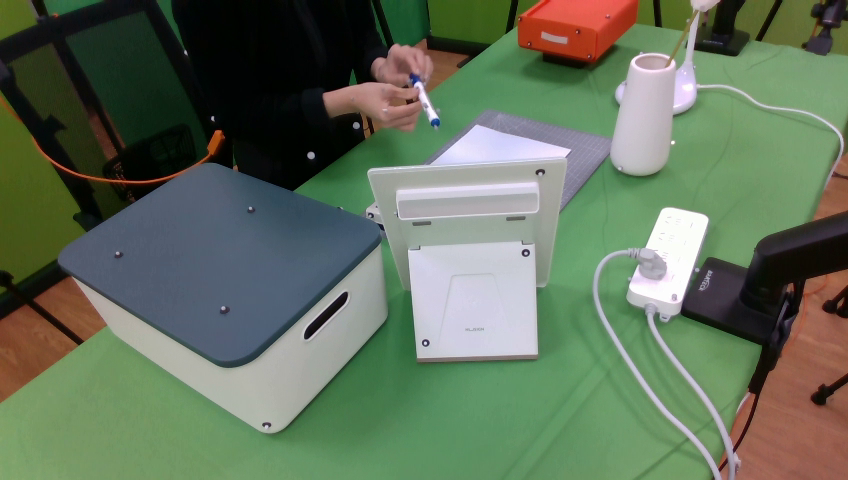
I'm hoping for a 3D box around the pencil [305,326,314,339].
[{"bbox_3d":[-0.187,0.105,0.879,0.012,0.012,0.192,-27,42,-22],"label":"pencil"}]

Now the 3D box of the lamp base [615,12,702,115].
[{"bbox_3d":[0.484,-0.364,1.211,0.180,0.181,0.159,-15,41,-14],"label":"lamp base"}]

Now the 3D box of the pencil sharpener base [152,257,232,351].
[{"bbox_3d":[-0.323,0.088,0.842,0.061,0.107,0.076,-27,44,-20],"label":"pencil sharpener base"}]

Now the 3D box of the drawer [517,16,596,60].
[{"bbox_3d":[0.352,-0.506,1.405,0.193,0.073,0.212,23,49,32],"label":"drawer"}]

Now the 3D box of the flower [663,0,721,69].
[{"bbox_3d":[0.379,-0.261,0.965,0.044,0.362,0.038,20,53,5],"label":"flower"}]

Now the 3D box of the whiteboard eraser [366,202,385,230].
[{"bbox_3d":[-0.038,-0.038,1.006,0.112,0.042,0.055,16,47,25],"label":"whiteboard eraser"}]

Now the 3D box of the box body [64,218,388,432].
[{"bbox_3d":[-0.256,0.065,0.827,0.361,0.161,0.255,20,48,29],"label":"box body"}]

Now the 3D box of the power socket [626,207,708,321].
[{"bbox_3d":[0.359,0.025,0.886,0.072,0.033,0.227,16,46,26],"label":"power socket"}]

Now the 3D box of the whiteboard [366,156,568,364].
[{"bbox_3d":[0.059,0.050,0.738,0.217,0.307,0.143,-2,60,6],"label":"whiteboard"}]

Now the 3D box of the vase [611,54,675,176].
[{"bbox_3d":[0.377,-0.209,1.031,0.098,0.201,0.097,-4,40,3],"label":"vase"}]

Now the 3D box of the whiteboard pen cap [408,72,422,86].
[{"bbox_3d":[-0.015,-0.269,1.025,0.018,0.018,0.033,-14,48,-9],"label":"whiteboard pen cap"}]

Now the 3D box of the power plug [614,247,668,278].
[{"bbox_3d":[0.306,0.031,0.851,0.072,0.053,0.035,24,49,33],"label":"power plug"}]

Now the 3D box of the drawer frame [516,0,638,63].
[{"bbox_3d":[0.355,-0.508,1.411,0.200,0.083,0.214,23,51,32],"label":"drawer frame"}]

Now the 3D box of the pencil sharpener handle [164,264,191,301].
[{"bbox_3d":[-0.354,0.055,0.866,0.036,0.068,0.030,-16,39,-29],"label":"pencil sharpener handle"}]

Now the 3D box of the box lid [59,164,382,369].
[{"bbox_3d":[-0.263,0.010,0.777,0.368,0.015,0.264,20,47,29],"label":"box lid"}]

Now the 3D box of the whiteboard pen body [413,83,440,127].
[{"bbox_3d":[0.000,-0.228,0.986,0.017,0.017,0.139,-14,46,-8],"label":"whiteboard pen body"}]
